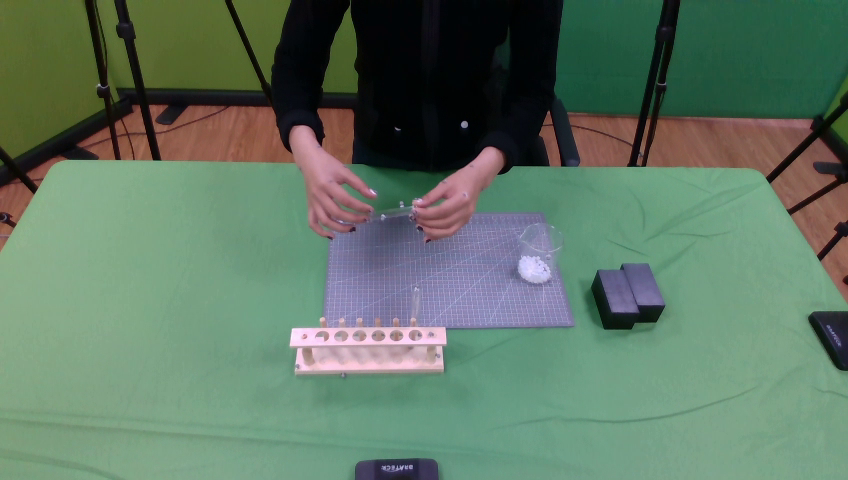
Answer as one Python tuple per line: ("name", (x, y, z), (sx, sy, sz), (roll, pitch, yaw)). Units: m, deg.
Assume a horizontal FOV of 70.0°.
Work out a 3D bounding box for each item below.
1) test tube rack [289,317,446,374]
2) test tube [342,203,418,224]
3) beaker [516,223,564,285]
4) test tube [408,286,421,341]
("test tube rack", (-0.089, 0.167, 0.987), (0.242, 0.085, 0.066), (0, 46, -4))
("test tube", (-0.072, -0.042, 0.970), (0.150, 0.017, 0.017), (-7, 37, 34))
("beaker", (0.211, 0.029, 1.131), (0.084, 0.101, 0.073), (-1, 46, -4))
("test tube", (-0.017, 0.124, 0.973), (0.017, 0.151, 0.017), (3, 46, -2))
